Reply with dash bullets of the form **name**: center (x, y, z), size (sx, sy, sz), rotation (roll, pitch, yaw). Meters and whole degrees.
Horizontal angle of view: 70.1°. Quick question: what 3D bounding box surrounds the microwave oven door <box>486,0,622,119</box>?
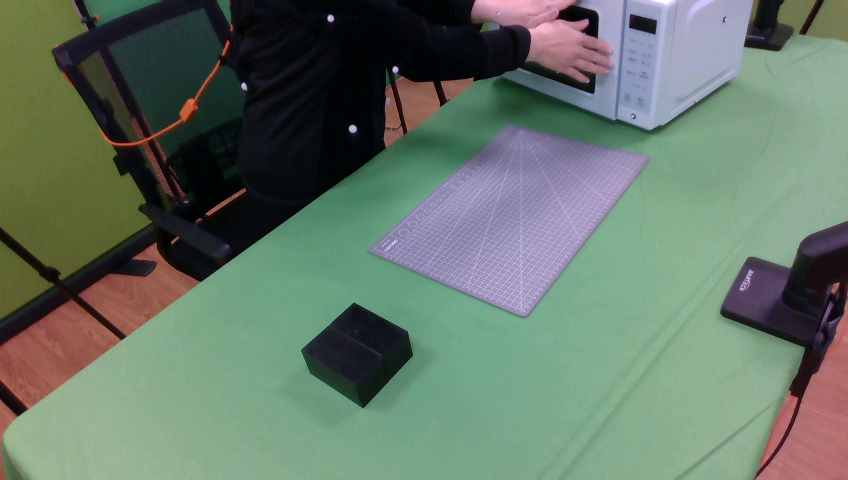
- **microwave oven door**: center (0.259, -0.408, 1.219), size (0.039, 0.245, 0.352), rotation (-32, 45, -23)

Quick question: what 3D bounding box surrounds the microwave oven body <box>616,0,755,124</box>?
- **microwave oven body**: center (0.402, -0.458, 1.259), size (0.327, 0.261, 0.437), rotation (-33, 45, -24)

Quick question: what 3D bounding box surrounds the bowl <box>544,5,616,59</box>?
- **bowl**: center (0.332, -0.441, 1.302), size (0.151, 0.077, 0.150), rotation (-3, 40, 3)

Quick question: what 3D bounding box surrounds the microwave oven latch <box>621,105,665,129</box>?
- **microwave oven latch**: center (0.413, -0.237, 1.146), size (0.030, 0.029, 0.078), rotation (-31, 44, -22)
